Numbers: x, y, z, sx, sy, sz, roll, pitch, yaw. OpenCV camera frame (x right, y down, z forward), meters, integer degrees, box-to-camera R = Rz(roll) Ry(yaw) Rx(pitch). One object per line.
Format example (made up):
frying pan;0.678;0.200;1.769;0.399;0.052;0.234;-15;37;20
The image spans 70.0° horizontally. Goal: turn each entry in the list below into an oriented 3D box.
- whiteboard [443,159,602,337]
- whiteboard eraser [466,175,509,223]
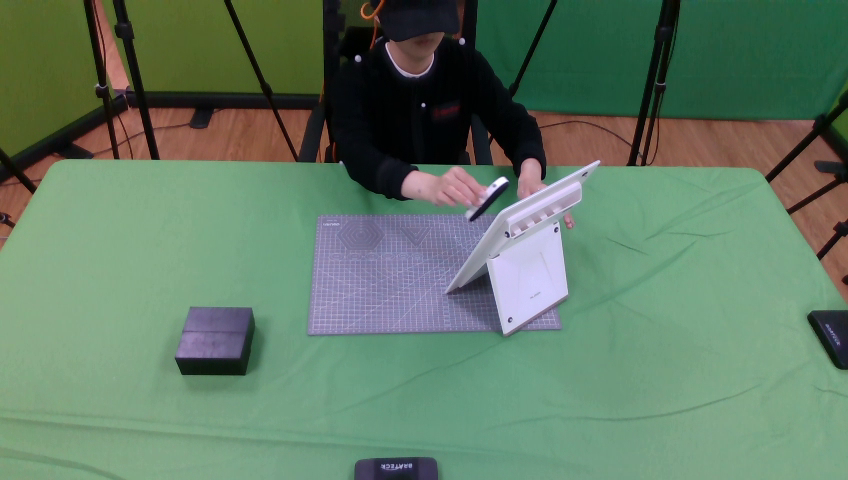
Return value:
whiteboard;0.193;0.036;1.018;0.217;0.306;0.143;-26;72;-26
whiteboard eraser;0.105;-0.068;0.997;0.019;0.101;0.041;47;39;10
